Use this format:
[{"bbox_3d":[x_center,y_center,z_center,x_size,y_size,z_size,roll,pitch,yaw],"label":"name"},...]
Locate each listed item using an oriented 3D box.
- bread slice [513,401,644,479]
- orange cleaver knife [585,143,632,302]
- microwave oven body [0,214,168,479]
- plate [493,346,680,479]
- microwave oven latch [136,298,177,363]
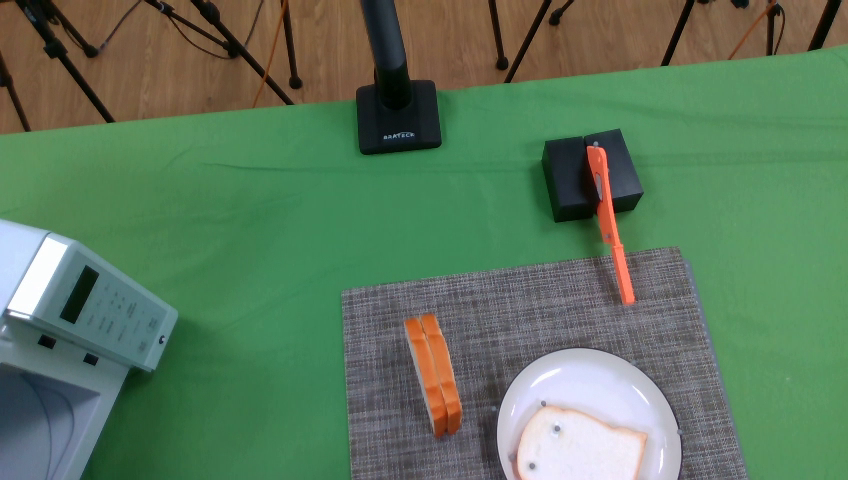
[{"bbox_3d":[0.170,0.245,0.685,0.134,0.018,0.106,15,66,11],"label":"bread slice"},{"bbox_3d":[0.233,-0.026,0.777,0.012,0.077,0.211,-11,88,1],"label":"orange cleaver knife"},{"bbox_3d":[-0.532,0.195,0.621,0.325,0.262,0.439,14,69,8],"label":"microwave oven body"},{"bbox_3d":[0.182,0.227,0.695,0.207,0.039,0.206,-1,67,2],"label":"plate"},{"bbox_3d":[-0.336,0.110,0.753,0.030,0.030,0.079,15,70,8],"label":"microwave oven latch"}]
